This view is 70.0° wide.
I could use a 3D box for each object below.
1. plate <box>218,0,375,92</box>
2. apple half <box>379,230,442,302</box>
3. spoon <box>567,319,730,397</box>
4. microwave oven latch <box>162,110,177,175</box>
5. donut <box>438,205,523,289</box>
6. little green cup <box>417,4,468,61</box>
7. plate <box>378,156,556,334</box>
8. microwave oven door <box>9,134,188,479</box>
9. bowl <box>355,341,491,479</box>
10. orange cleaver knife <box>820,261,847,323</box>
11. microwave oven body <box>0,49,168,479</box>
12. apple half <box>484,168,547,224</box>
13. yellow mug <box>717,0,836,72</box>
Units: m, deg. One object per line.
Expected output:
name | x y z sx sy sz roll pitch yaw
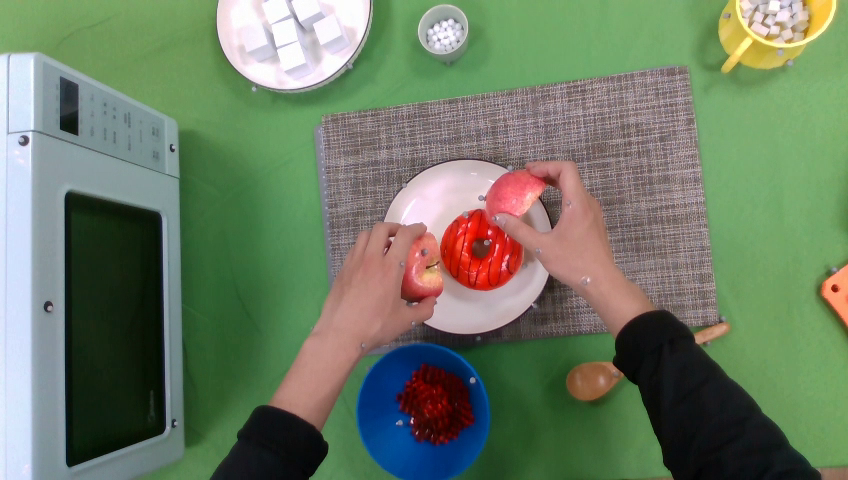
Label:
plate | -0.162 -0.289 0.780 0.207 0.039 0.207 -1 86 10
apple half | -0.021 0.031 0.676 0.053 0.074 0.081 -10 100 -30
spoon | 0.254 0.130 0.685 0.193 0.022 0.041 -24 67 8
microwave oven latch | -0.336 -0.124 0.780 0.030 0.029 0.079 -2 86 9
donut | 0.066 0.008 0.704 0.099 0.048 0.099 0 89 11
little green cup | 0.025 -0.252 0.745 0.061 0.039 0.061 -1 86 10
plate | 0.050 0.006 0.718 0.209 0.038 0.208 -1 86 10
microwave oven door | -0.344 0.086 0.664 0.039 0.244 0.355 -4 85 10
bowl | 0.004 0.188 0.697 0.151 0.077 0.151 -1 86 10
orange cleaver knife | 0.497 0.115 0.644 0.077 0.012 0.210 -21 81 3
microwave oven body | -0.489 0.054 0.697 0.325 0.261 0.440 -4 86 9
apple half | 0.092 -0.054 0.650 0.081 0.080 0.033 -43 109 4
yellow mug | 0.374 -0.239 0.668 0.099 0.064 0.131 42 95 10
